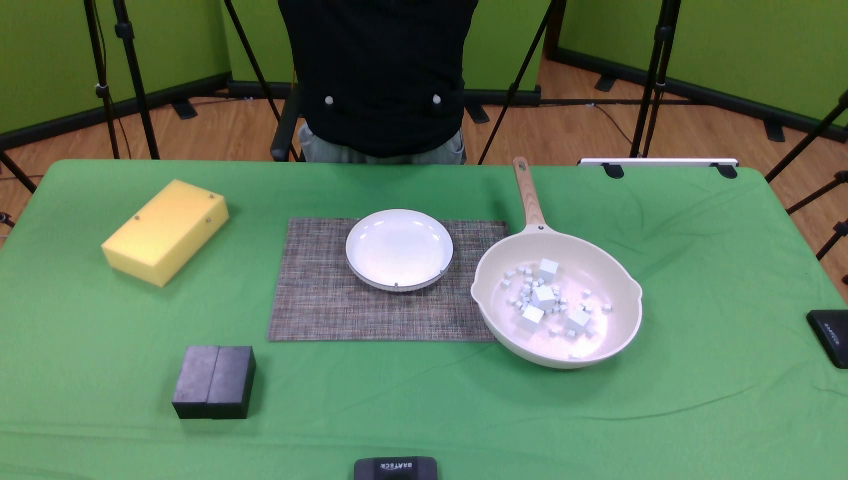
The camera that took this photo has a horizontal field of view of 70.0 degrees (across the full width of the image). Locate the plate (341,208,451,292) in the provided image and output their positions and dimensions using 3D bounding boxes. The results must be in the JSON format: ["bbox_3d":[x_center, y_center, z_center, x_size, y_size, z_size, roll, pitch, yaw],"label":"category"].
[{"bbox_3d":[-0.053,0.022,1.156,0.208,0.039,0.206,2,46,-2],"label":"plate"}]

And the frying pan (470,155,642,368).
[{"bbox_3d":[0.222,0.022,1.134,0.307,0.103,0.484,0,55,-7],"label":"frying pan"}]

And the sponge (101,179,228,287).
[{"bbox_3d":[-0.486,-0.018,1.151,0.118,0.061,0.206,19,47,12],"label":"sponge"}]
